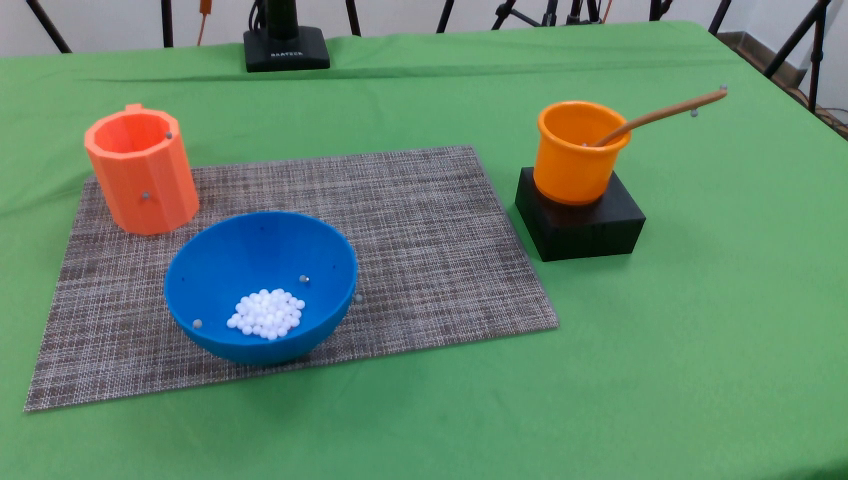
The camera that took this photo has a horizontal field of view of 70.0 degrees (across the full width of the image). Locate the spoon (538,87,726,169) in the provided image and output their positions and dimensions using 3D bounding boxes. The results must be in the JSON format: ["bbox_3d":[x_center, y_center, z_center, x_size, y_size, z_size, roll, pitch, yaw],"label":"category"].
[{"bbox_3d":[0.193,-0.107,0.589,0.022,0.193,0.041,54,46,-12],"label":"spoon"}]

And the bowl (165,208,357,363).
[{"bbox_3d":[-0.131,0.050,0.514,0.151,0.077,0.150,3,43,-2],"label":"bowl"}]

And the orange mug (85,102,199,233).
[{"bbox_3d":[-0.289,-0.083,0.625,0.084,0.101,0.125,-12,51,-17],"label":"orange mug"}]
